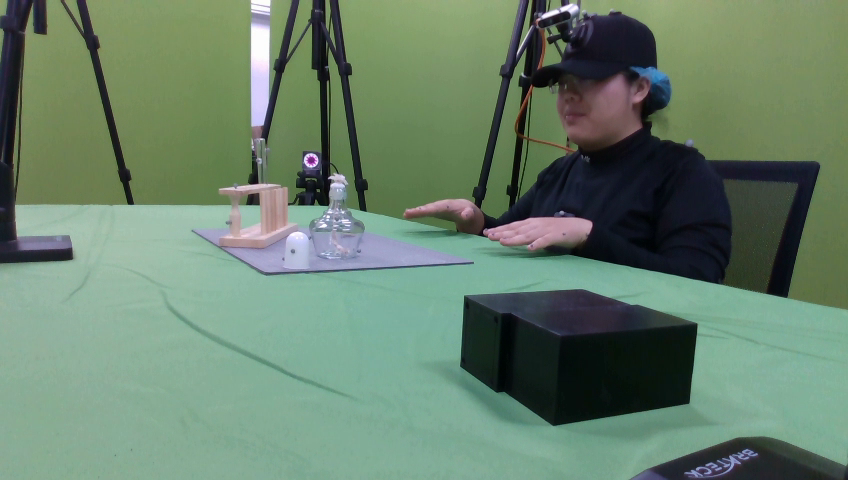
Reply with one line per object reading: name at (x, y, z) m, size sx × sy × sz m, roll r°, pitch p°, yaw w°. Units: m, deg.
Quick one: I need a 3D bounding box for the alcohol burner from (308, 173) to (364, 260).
alcohol burner at (-0.121, -0.033, 0.841) m, size 0.078 × 0.119 × 0.078 m, roll 3°, pitch 5°, yaw 0°

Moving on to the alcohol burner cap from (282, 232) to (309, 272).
alcohol burner cap at (-0.157, 0.014, 0.740) m, size 0.034 × 0.048 × 0.034 m, roll 2°, pitch 6°, yaw 0°

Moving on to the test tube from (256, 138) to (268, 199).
test tube at (-0.284, -0.105, 1.066) m, size 0.017 × 0.150 × 0.017 m, roll -1°, pitch 9°, yaw 0°

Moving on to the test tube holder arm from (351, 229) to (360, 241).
test tube holder arm at (-0.120, -0.010, 1.040) m, size 0.010 × 0.015 × 0.087 m, roll 35°, pitch 0°, yaw -11°

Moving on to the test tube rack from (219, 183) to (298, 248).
test tube rack at (-0.266, -0.046, 1.002) m, size 0.067 × 0.085 × 0.242 m, roll 3°, pitch 7°, yaw 0°

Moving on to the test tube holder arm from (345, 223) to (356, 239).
test tube holder arm at (-0.132, -0.018, 1.083) m, size 0.013 × 0.015 × 0.178 m, roll 35°, pitch 0°, yaw -12°
